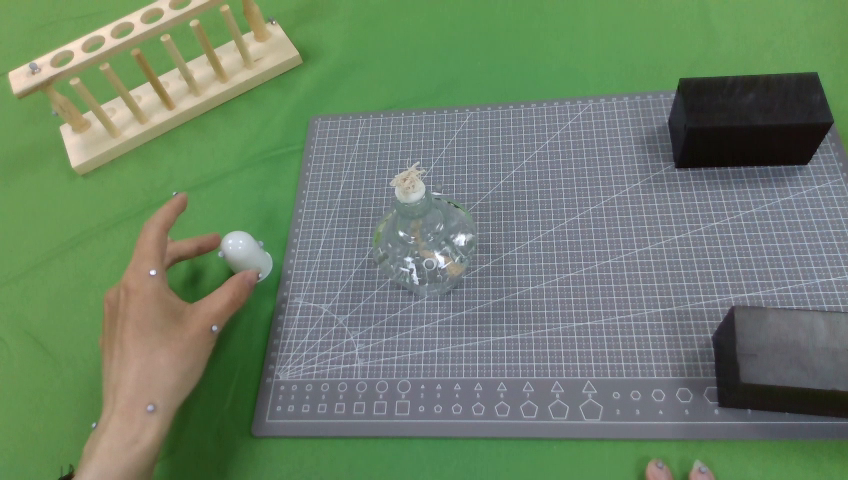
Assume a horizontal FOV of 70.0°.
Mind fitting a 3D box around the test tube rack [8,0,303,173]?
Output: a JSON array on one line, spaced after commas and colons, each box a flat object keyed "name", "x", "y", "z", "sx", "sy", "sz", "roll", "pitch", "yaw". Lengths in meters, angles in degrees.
[{"name": "test tube rack", "x": -0.249, "y": -0.167, "z": 0.583, "sx": 0.242, "sy": 0.086, "sz": 0.066, "roll": -29, "pitch": 60, "yaw": -9}]

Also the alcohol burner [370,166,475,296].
[{"name": "alcohol burner", "x": -0.003, "y": -0.009, "z": 0.430, "sx": 0.078, "sy": 0.120, "sz": 0.077, "roll": -4, "pitch": 57, "yaw": 7}]

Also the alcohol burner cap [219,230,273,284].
[{"name": "alcohol burner cap", "x": -0.145, "y": 0.012, "z": 0.486, "sx": 0.034, "sy": 0.048, "sz": 0.033, "roll": -5, "pitch": 59, "yaw": 8}]
